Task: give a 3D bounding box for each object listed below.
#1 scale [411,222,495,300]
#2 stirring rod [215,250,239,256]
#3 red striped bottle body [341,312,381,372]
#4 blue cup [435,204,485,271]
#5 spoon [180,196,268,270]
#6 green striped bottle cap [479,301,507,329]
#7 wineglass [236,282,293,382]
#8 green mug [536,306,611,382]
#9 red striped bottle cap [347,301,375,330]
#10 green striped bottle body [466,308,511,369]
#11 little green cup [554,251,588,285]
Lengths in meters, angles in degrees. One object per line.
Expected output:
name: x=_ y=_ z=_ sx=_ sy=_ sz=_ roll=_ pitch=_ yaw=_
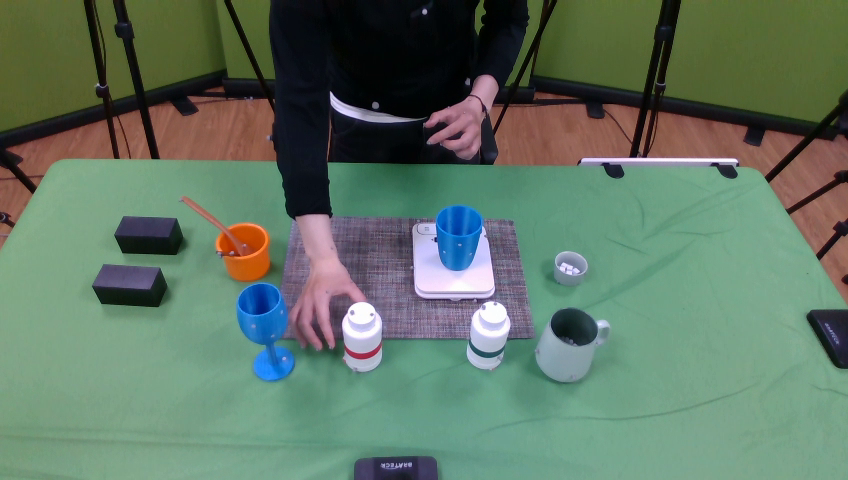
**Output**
scale: x=0.052 y=0.031 z=1.158 sx=0.149 sy=0.032 sz=0.199 roll=1 pitch=46 yaw=-4
stirring rod: x=-0.339 y=0.024 z=1.059 sx=0.014 sy=0.176 sz=0.006 roll=17 pitch=86 yaw=-6
red striped bottle body: x=-0.100 y=0.154 z=0.972 sx=0.063 sy=0.120 sz=0.062 roll=2 pitch=46 yaw=-2
blue cup: x=0.060 y=0.001 z=1.097 sx=0.092 sy=0.101 sz=0.092 roll=1 pitch=44 yaw=-1
spoon: x=-0.360 y=-0.014 z=1.094 sx=0.021 sy=0.194 sz=0.041 roll=-28 pitch=26 yaw=31
green striped bottle cap: x=0.109 y=0.118 z=0.950 sx=0.044 sy=0.020 sz=0.044 roll=2 pitch=47 yaw=-2
wineglass: x=-0.243 y=0.143 z=0.934 sx=0.074 sy=0.173 sz=0.073 roll=2 pitch=46 yaw=-2
green mug: x=0.250 y=0.167 z=0.996 sx=0.125 sy=0.105 sz=0.092 roll=-15 pitch=49 yaw=-18
red striped bottle cap: x=-0.097 y=0.116 z=0.934 sx=0.044 sy=0.018 sz=0.044 roll=3 pitch=48 yaw=-3
green striped bottle body: x=0.106 y=0.154 z=0.988 sx=0.063 sy=0.120 sz=0.063 roll=2 pitch=46 yaw=-2
little green cup: x=0.277 y=0.055 z=1.151 sx=0.061 sy=0.039 sz=0.061 roll=1 pitch=46 yaw=-1
